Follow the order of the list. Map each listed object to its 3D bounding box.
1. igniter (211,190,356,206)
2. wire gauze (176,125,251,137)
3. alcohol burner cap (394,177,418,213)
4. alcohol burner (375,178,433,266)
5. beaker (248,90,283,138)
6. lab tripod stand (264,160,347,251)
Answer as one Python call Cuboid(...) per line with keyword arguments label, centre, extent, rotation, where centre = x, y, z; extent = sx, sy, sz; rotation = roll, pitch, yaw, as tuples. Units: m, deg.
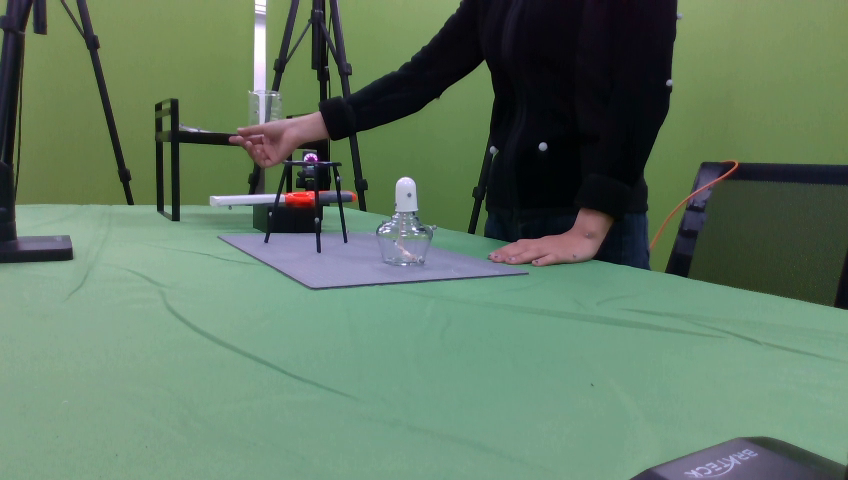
Cuboid(label="igniter", centre=(-0.260, -0.080, 1.151), extent=(0.278, 0.025, 0.057), rotation=(-5, 12, -33))
Cuboid(label="wire gauze", centre=(-0.441, -0.227, 1.266), extent=(0.122, 0.011, 0.124), rotation=(1, 10, -38))
Cuboid(label="alcohol burner cap", centre=(-0.025, -0.060, 0.809), extent=(0.034, 0.048, 0.034), rotation=(-4, 10, 1))
Cuboid(label="alcohol burner", centre=(-0.026, -0.025, 0.815), extent=(0.078, 0.119, 0.078), rotation=(4, 6, 0))
Cuboid(label="beaker", centre=(-0.354, -0.278, 1.340), extent=(0.074, 0.100, 0.084), rotation=(6, 9, 25))
Cuboid(label="lab tripod stand", centre=(-0.177, -0.057, 0.930), extent=(0.148, 0.131, 0.148), rotation=(1, 9, 0))
